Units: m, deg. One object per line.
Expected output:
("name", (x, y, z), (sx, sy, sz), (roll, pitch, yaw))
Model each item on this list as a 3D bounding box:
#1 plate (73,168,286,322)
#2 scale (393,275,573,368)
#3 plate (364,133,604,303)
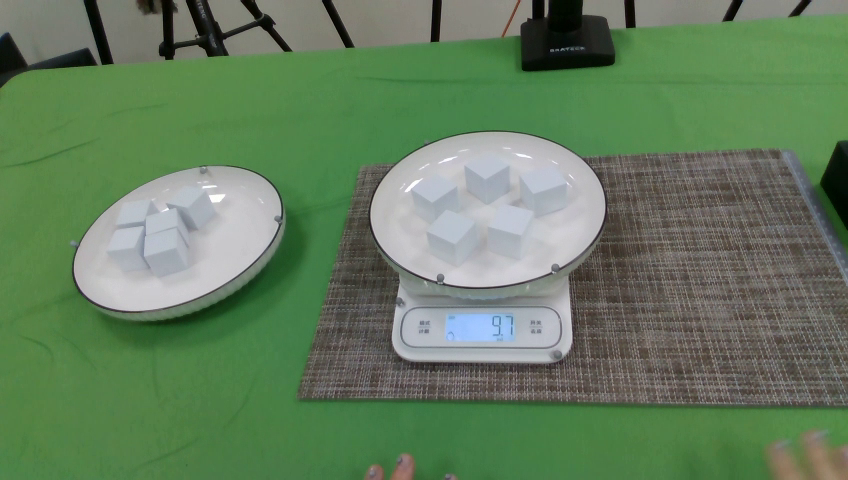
("plate", (-0.240, 0.005, 0.615), (0.209, 0.038, 0.207), (-4, 44, 5))
("scale", (0.054, 0.023, 0.546), (0.148, 0.032, 0.199), (-1, 46, 9))
("plate", (0.052, -0.020, 0.543), (0.207, 0.039, 0.205), (-4, 45, 4))
